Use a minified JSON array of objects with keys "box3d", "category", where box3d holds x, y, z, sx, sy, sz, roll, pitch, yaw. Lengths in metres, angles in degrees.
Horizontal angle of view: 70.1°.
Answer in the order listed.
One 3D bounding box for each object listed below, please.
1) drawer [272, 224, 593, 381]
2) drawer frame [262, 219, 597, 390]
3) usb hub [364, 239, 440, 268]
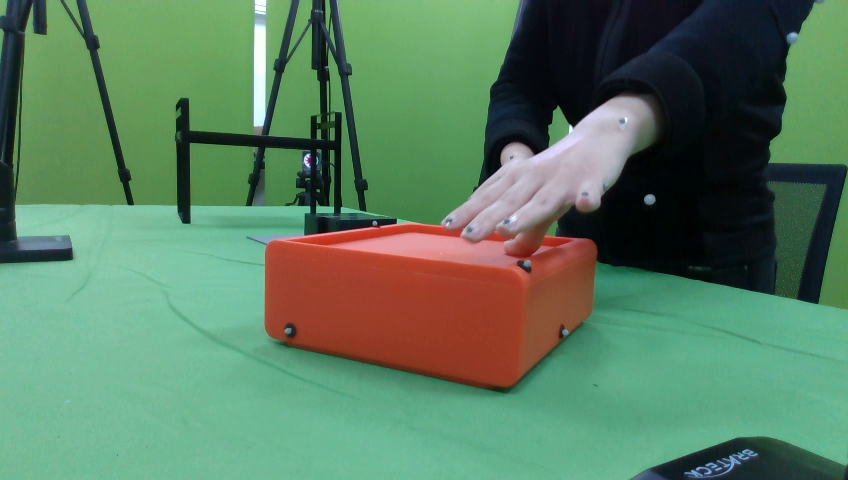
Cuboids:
[{"box3d":[0.018,0.038,0.499,0.194,0.073,0.212,7,10,26],"category":"drawer"},{"box3d":[0.017,0.036,0.495,0.201,0.082,0.214,6,9,26],"category":"drawer frame"},{"box3d":[-0.028,0.017,0.829,0.049,0.025,0.126,5,7,29],"category":"usb hub"}]
